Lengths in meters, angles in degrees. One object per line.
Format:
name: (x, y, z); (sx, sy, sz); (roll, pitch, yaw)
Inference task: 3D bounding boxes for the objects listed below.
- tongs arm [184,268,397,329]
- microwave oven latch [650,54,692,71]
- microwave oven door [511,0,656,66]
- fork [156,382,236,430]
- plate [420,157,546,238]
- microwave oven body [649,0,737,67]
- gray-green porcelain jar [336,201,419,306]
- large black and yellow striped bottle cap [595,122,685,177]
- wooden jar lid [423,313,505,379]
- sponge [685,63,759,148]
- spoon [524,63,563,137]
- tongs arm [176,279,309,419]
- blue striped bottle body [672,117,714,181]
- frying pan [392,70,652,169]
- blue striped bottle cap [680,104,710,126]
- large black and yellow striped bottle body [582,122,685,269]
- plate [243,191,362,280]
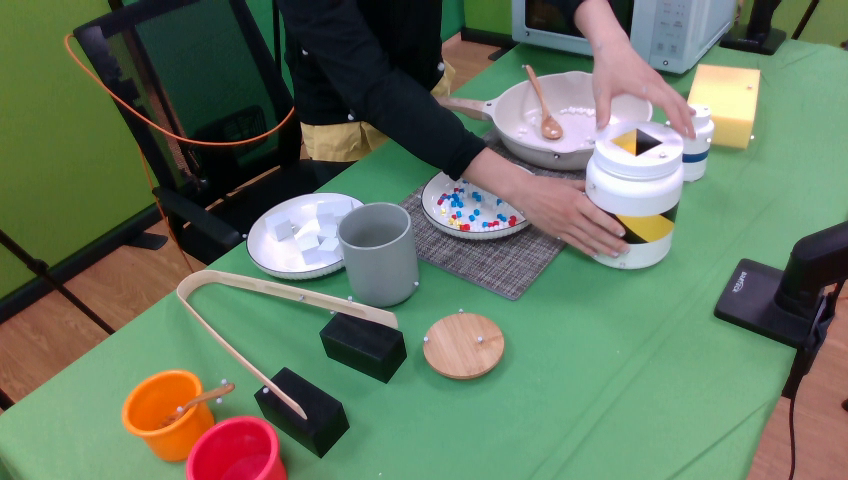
tongs arm: (-0.202, 0.084, 0.848); (0.382, 0.027, 0.051); (11, 45, 35)
microwave oven latch: (0.530, -0.386, 1.300); (0.078, 0.029, 0.030); (24, 50, 32)
microwave oven door: (0.351, -0.540, 1.349); (0.353, 0.245, 0.039); (24, 50, 31)
fork: (-0.262, 0.189, 0.690); (0.018, 0.206, 0.028); (49, 43, -7)
plate: (0.100, -0.068, 1.017); (0.209, 0.038, 0.208); (-4, 40, 4)
microwave oven body: (0.475, -0.602, 1.411); (0.438, 0.261, 0.327); (23, 50, 32)
gray-green porcelain jar: (-0.064, 0.024, 0.872); (0.106, 0.127, 0.105); (-4, 41, 4)
large black and yellow striped bottle cap: (0.293, -0.125, 0.822); (0.115, 0.019, 0.114); (-5, 40, 5)
wooden jar lid: (0.053, 0.142, 0.800); (0.108, 0.021, 0.108); (-5, 39, 4)
sponge: (0.569, -0.263, 1.164); (0.117, 0.061, 0.207); (12, 45, 22)
spoon: (0.234, -0.281, 1.203); (0.041, 0.022, 0.192); (-13, 68, -1)
tongs arm: (-0.254, 0.133, 0.801); (0.028, 0.028, 0.384); (-41, 40, -23)
blue striped bottle body: (0.449, -0.165, 1.022); (0.063, 0.121, 0.063); (-5, 41, 4)
frying pan: (0.176, -0.248, 1.165); (0.487, 0.103, 0.306); (12, 43, 9)
blue striped bottle cap: (0.444, -0.205, 0.989); (0.044, 0.021, 0.044); (-1, 41, 2)
large black and yellow striped bottle body: (0.301, -0.064, 0.877); (0.131, 0.185, 0.130); (-4, 41, 4)
plate: (-0.187, -0.005, 0.992); (0.207, 0.039, 0.206); (-3, 41, 3)
